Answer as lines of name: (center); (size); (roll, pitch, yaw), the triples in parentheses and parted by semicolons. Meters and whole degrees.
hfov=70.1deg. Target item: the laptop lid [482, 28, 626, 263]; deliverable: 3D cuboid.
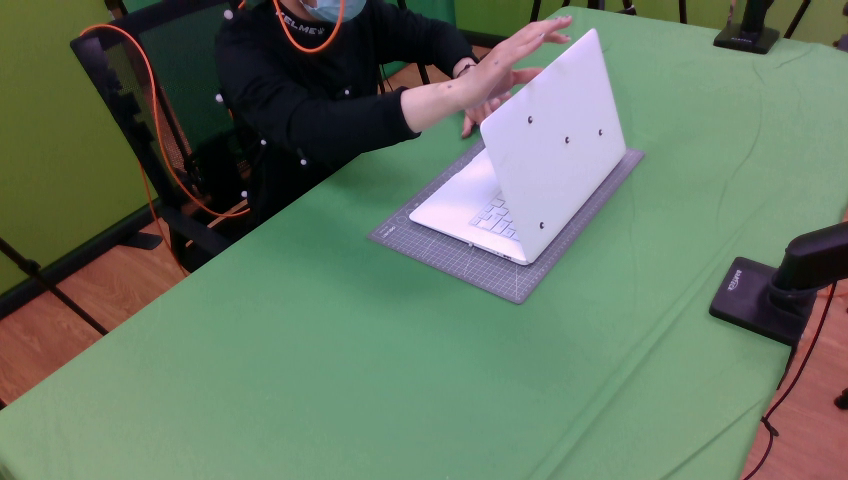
laptop lid: (0.220, -0.156, 0.941); (0.013, 0.243, 0.358); (5, 36, 43)

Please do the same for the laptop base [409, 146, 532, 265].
laptop base: (0.168, -0.095, 1.056); (0.233, 0.023, 0.355); (20, 47, 32)
